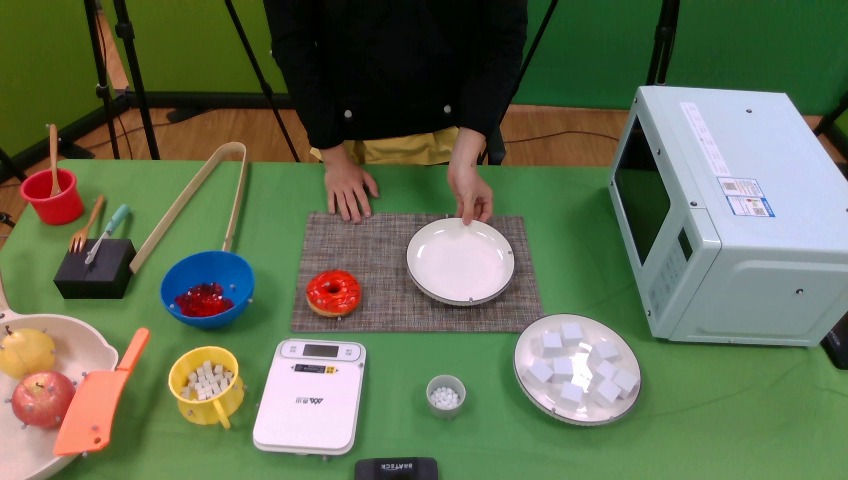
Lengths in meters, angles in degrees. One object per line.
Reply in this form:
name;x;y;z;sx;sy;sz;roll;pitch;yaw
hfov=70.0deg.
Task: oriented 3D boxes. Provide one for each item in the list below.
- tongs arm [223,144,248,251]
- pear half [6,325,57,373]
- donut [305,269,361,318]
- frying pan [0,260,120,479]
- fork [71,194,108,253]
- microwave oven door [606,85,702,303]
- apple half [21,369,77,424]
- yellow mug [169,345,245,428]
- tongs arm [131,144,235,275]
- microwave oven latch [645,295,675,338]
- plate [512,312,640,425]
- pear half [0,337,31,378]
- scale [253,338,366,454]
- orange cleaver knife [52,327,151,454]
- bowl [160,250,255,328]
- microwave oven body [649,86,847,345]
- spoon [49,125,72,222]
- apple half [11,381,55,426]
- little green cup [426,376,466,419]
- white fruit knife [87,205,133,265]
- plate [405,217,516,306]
tongs arm;-0.397;-0.073;1.232;0.051;0.027;0.382;-3;45;1
pear half;-0.607;0.158;0.935;0.076;0.110;0.056;31;51;19
donut;-0.160;0.094;1.075;0.099;0.048;0.098;3;45;-3
frying pan;-0.647;0.164;0.936;0.307;0.103;0.485;-19;58;-22
fork;-0.634;-0.036;1.158;0.028;0.019;0.206;-7;31;-8
microwave oven door;0.422;-0.094;1.140;0.039;0.245;0.353;2;46;-1
apple half;-0.546;0.226;0.898;0.080;0.075;0.053;30;48;27
yellow mug;-0.322;0.230;0.922;0.100;0.064;0.130;-24;53;-25
tongs arm;-0.484;-0.075;1.237;0.028;0.028;0.385;5;45;14
microwave oven latch;0.411;0.134;1.061;0.030;0.029;0.078;3;45;0
plate;0.246;0.213;0.999;0.208;0.039;0.206;2;46;-2
pear half;-0.631;0.183;0.923;0.070;0.088;0.031;28;50;14
scale;-0.175;0.236;0.951;0.149;0.032;0.199;5;45;-1
orange cleaver knife;-0.462;0.212;0.879;0.077;0.012;0.210;6;46;-1
bowl;-0.362;0.098;1.040;0.151;0.077;0.150;2;45;-2
microwave oven body;0.567;-0.053;1.118;0.326;0.261;0.439;2;45;-1
spoon;-0.718;-0.131;1.189;0.041;0.021;0.193;-3;91;-6
apple half;-0.570;0.246;0.875;0.081;0.081;0.033;32;49;24
little green cup;0.033;0.248;0.950;0.061;0.039;0.061;2;46;-2
white fruit knife;-0.584;-0.013;1.129;0.016;0.027;0.206;0;32;-5
plate;0.068;0.043;1.141;0.209;0.038;0.208;2;49;-2
